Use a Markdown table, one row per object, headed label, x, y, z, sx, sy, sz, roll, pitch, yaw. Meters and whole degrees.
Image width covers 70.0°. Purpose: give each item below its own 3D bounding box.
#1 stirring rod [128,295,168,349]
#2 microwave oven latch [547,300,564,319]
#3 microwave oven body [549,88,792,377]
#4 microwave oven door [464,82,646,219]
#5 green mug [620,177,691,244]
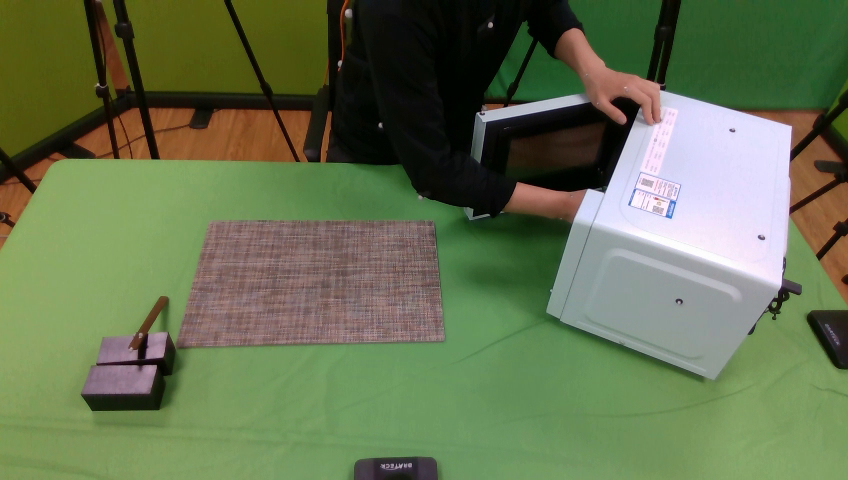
| label | x | y | z | sx | sy | sz | roll | pitch | yaw |
| --- | --- | --- | --- | --- | --- | --- | --- | --- | --- |
| stirring rod | -0.451 | 0.131 | 0.996 | 0.014 | 0.006 | 0.175 | 8 | 21 | -10 |
| microwave oven latch | 0.242 | 0.102 | 1.081 | 0.030 | 0.029 | 0.079 | 21 | 48 | 17 |
| microwave oven body | 0.456 | -0.028 | 1.087 | 0.325 | 0.261 | 0.440 | 20 | 47 | 16 |
| microwave oven door | 0.258 | -0.177 | 1.209 | 0.356 | 0.245 | 0.039 | -14 | 48 | -16 |
| green mug | 0.428 | -0.052 | 1.136 | 0.125 | 0.105 | 0.092 | -7 | 45 | -13 |
